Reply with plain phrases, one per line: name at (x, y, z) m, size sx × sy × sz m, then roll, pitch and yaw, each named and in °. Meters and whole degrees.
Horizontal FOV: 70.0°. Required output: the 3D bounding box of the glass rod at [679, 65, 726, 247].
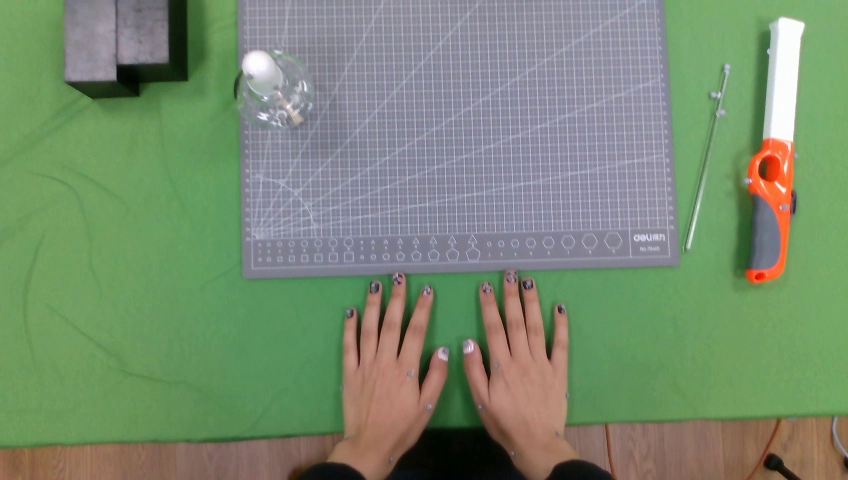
glass rod at (0.294, -0.090, 0.640) m, size 0.008 × 0.008 × 0.199 m, roll 15°, pitch 87°, yaw -1°

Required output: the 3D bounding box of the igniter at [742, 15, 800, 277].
igniter at (0.363, -0.097, 0.632) m, size 0.057 × 0.025 × 0.276 m, roll 8°, pitch 86°, yaw -11°

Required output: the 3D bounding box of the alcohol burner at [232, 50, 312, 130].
alcohol burner at (-0.148, -0.148, 0.574) m, size 0.078 × 0.119 × 0.077 m, roll 0°, pitch 84°, yaw 0°

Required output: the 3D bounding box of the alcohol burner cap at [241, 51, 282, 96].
alcohol burner cap at (-0.146, -0.150, 0.539) m, size 0.034 × 0.048 × 0.034 m, roll 0°, pitch 88°, yaw -5°
